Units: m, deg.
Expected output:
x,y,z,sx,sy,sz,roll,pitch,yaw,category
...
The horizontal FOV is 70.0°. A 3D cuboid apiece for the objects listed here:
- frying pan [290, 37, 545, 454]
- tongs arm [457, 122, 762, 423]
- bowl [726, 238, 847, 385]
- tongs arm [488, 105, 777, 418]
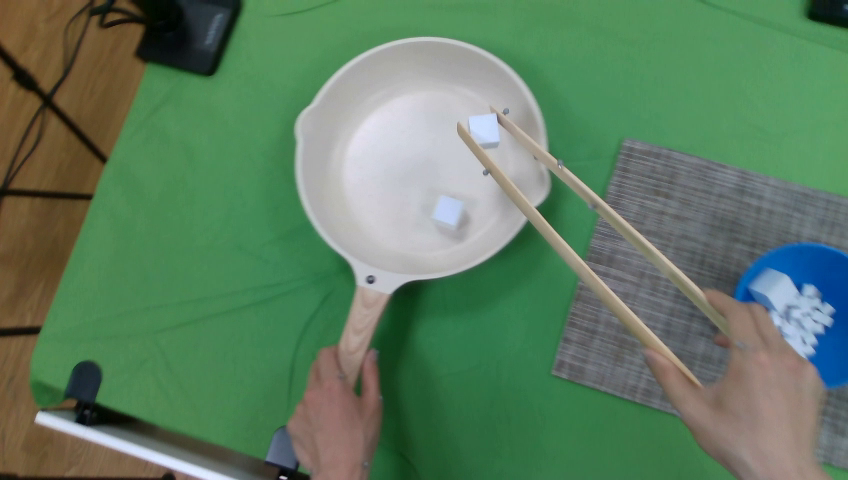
x,y,z,sx,sy,sz,roll,pitch,yaw,category
-0.041,0.000,0.697,0.306,0.103,0.485,17,74,9,frying pan
0.138,0.009,0.547,0.028,0.028,0.383,-30,57,-12,tongs arm
0.393,0.078,0.651,0.151,0.077,0.150,-1,80,5,bowl
0.161,-0.005,0.551,0.051,0.027,0.380,-35,57,-11,tongs arm
